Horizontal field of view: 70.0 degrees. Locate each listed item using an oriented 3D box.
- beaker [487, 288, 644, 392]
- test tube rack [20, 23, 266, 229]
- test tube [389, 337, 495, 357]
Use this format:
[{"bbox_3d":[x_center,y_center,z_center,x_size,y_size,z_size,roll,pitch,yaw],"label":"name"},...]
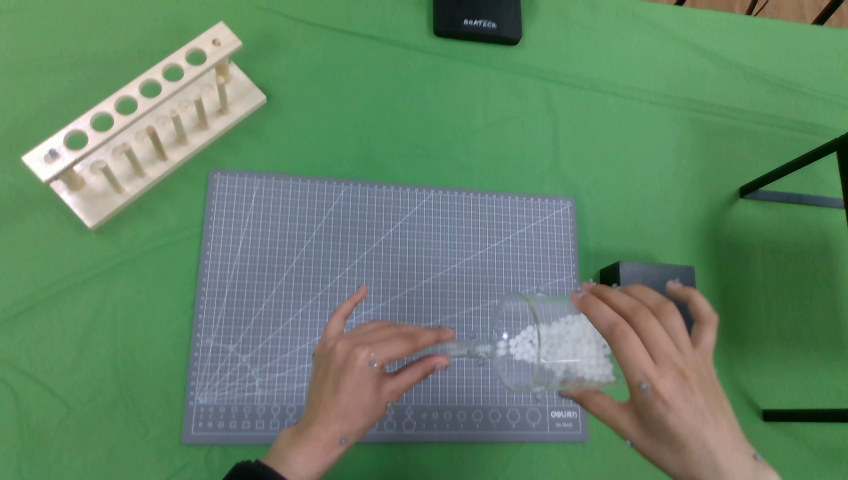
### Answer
[{"bbox_3d":[0.107,0.078,0.464,0.101,0.084,0.073,5,70,-23],"label":"beaker"},{"bbox_3d":[-0.289,-0.123,0.655,0.242,0.085,0.066,-43,87,-19],"label":"test tube rack"},{"bbox_3d":[0.011,0.095,0.541,0.017,0.149,0.017,6,79,-33],"label":"test tube"}]
